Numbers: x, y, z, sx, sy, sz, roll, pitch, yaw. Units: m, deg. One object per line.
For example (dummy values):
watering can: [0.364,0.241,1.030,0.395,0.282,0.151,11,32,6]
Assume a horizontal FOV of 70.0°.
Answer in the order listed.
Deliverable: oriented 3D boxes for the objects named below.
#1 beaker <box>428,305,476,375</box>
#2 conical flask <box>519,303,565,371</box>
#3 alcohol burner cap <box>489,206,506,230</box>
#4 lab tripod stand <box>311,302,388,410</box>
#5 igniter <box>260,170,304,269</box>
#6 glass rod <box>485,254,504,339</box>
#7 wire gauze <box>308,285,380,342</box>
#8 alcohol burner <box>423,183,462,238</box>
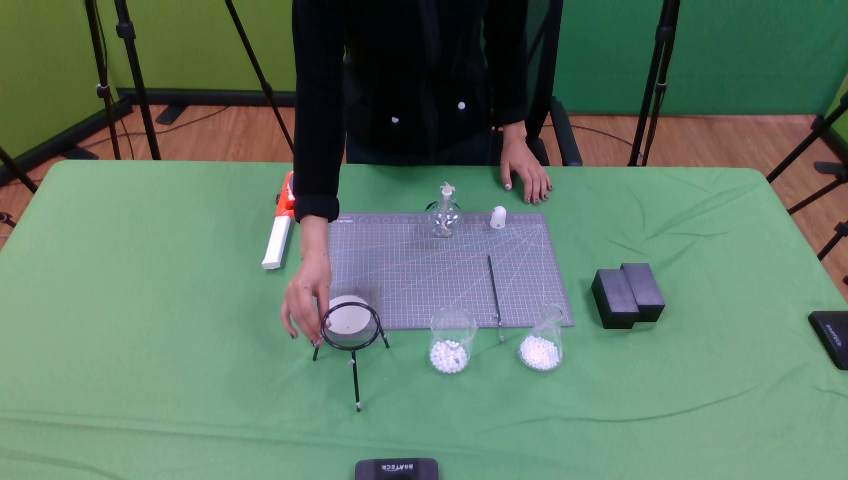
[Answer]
beaker: [0.043,0.169,0.987,0.074,0.101,0.083,1,47,-2]
conical flask: [0.201,0.155,0.997,0.075,0.122,0.075,2,46,-2]
alcohol burner cap: [0.152,-0.047,1.241,0.034,0.048,0.033,2,45,-2]
lab tripod stand: [-0.113,0.168,0.951,0.148,0.132,0.147,2,44,-2]
igniter: [-0.284,-0.050,1.222,0.057,0.025,0.275,-4,46,7]
glass rod: [0.129,0.099,1.119,0.008,0.008,0.198,-1,46,-4]
wire gauze: [-0.141,0.128,1.071,0.125,0.011,0.120,0,46,-5]
alcohol burner: [0.039,-0.063,1.197,0.078,0.119,0.077,2,44,-2]
